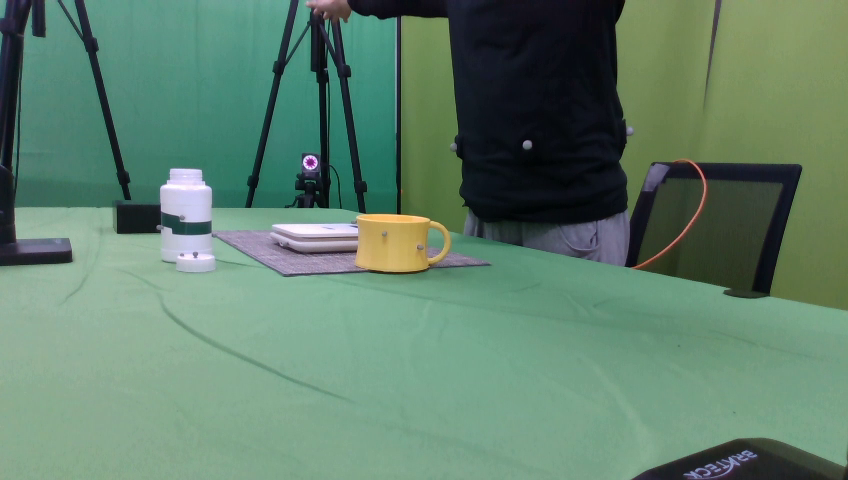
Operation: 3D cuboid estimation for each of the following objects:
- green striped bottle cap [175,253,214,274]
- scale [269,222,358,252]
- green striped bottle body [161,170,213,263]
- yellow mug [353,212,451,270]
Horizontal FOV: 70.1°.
[{"bbox_3d":[-0.280,0.029,0.740,0.044,0.020,0.044,7,3,0],"label":"green striped bottle cap"},{"bbox_3d":[-0.132,-0.007,0.965,0.202,0.031,0.148,-2,8,-31],"label":"scale"},{"bbox_3d":[-0.312,-0.033,0.797,0.063,0.119,0.063,2,7,0],"label":"green striped bottle body"},{"bbox_3d":[-0.027,0.000,0.807,0.131,0.064,0.099,2,8,-13],"label":"yellow mug"}]
